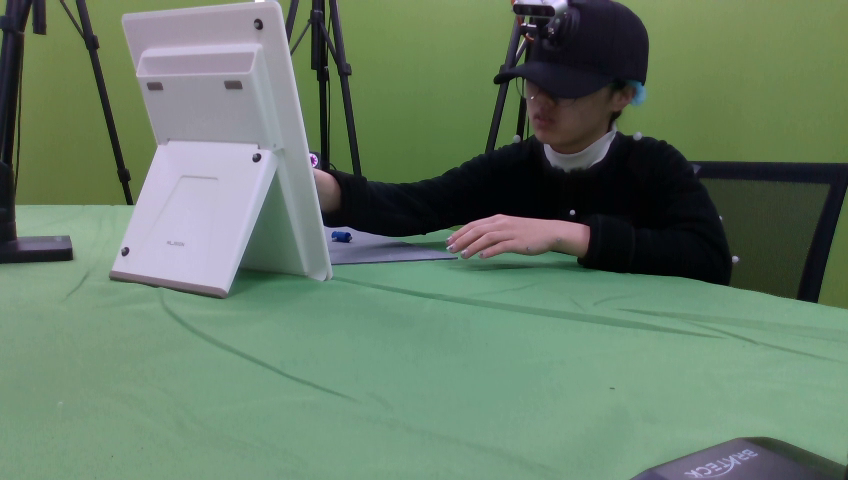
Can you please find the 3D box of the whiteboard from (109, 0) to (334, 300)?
[{"bbox_3d":[-0.247,-0.072,0.624,0.216,0.305,0.144,6,28,26],"label":"whiteboard"}]

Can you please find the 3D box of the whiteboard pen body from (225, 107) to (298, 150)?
[{"bbox_3d":[-0.196,-0.136,0.734,0.017,0.017,0.141,5,30,23],"label":"whiteboard pen body"}]

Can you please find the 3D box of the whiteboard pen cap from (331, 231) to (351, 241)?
[{"bbox_3d":[-0.139,-0.007,1.011,0.033,0.018,0.018,5,8,35],"label":"whiteboard pen cap"}]
